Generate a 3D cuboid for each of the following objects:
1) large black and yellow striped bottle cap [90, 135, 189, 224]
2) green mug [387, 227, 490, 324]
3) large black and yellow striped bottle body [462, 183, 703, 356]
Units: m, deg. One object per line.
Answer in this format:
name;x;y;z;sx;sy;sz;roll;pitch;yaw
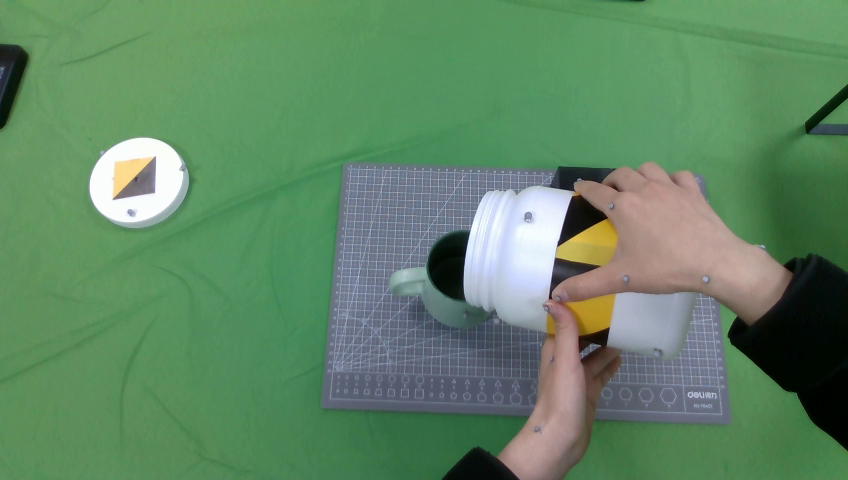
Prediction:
large black and yellow striped bottle cap;-0.348;-0.076;0.742;0.115;0.019;0.114;0;71;0
green mug;0.022;0.041;0.658;0.125;0.105;0.092;-5;72;-2
large black and yellow striped bottle body;0.136;0.021;0.536;0.183;0.132;0.130;11;71;17
